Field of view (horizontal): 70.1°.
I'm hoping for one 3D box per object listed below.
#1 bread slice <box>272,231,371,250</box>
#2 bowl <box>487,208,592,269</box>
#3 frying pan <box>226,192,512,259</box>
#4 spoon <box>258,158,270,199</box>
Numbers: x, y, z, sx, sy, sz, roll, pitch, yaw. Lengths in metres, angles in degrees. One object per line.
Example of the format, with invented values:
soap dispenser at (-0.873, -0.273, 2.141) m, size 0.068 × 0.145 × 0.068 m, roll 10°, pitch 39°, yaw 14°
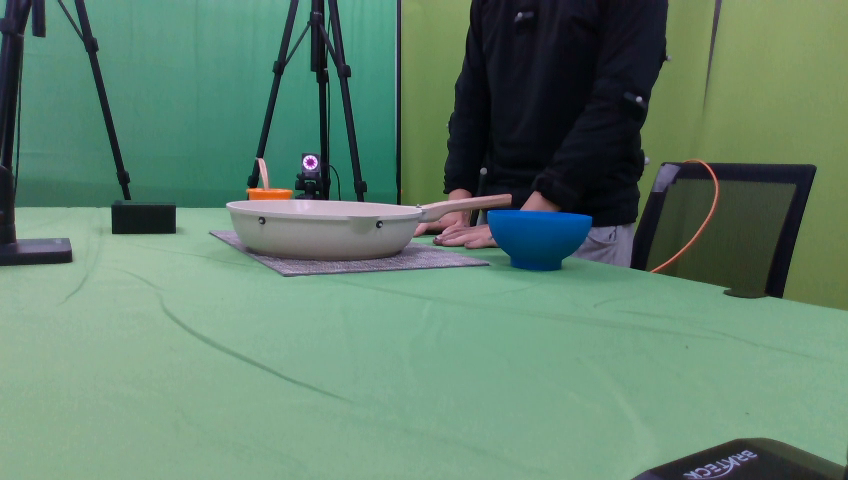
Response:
bread slice at (-0.148, 0.001, 0.929) m, size 0.133 × 0.018 × 0.107 m, roll 6°, pitch 8°, yaw 38°
bowl at (0.164, -0.003, 0.875) m, size 0.151 × 0.077 × 0.151 m, roll 2°, pitch 7°, yaw 0°
frying pan at (-0.058, -0.041, 0.975) m, size 0.490 × 0.102 × 0.305 m, roll -11°, pitch 13°, yaw -26°
spoon at (-0.332, -0.107, 1.269) m, size 0.042 × 0.021 × 0.193 m, roll 0°, pitch 53°, yaw -23°
